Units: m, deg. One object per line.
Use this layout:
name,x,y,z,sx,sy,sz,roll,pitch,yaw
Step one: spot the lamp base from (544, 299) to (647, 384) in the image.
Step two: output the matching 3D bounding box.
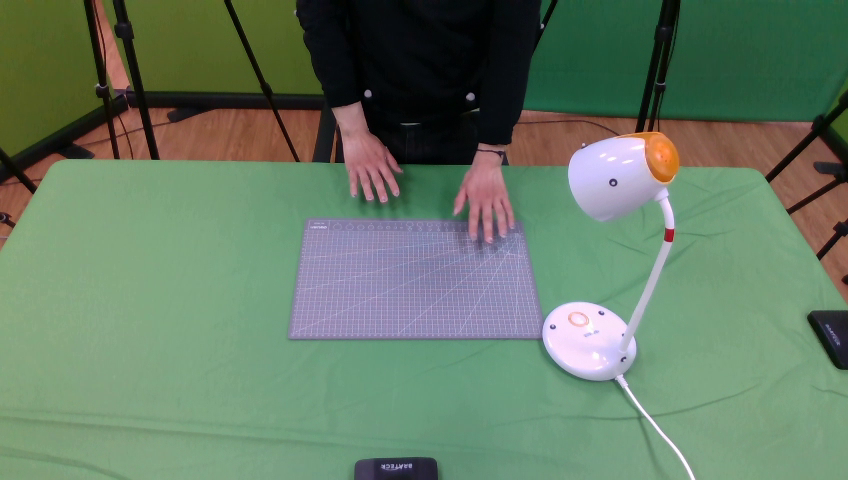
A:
lamp base,0.299,0.124,0.984,0.161,0.181,0.178,-23,55,-23

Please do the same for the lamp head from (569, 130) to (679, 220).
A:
lamp head,0.272,-0.090,0.798,0.113,0.122,0.112,7,78,-33
